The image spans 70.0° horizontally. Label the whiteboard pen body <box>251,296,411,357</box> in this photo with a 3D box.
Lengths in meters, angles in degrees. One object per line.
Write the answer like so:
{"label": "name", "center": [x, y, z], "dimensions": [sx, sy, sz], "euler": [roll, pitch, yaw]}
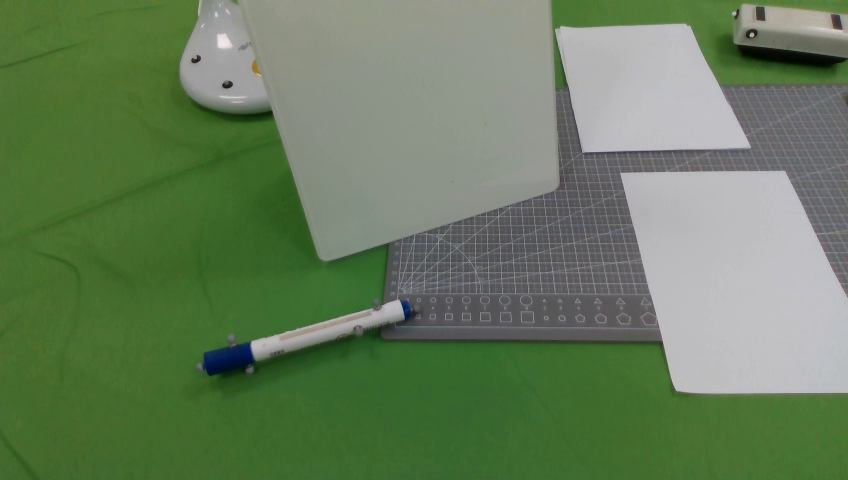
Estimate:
{"label": "whiteboard pen body", "center": [-0.078, 0.065, 0.433], "dimensions": [0.141, 0.017, 0.017], "euler": [-15, 51, -11]}

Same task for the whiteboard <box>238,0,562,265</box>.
{"label": "whiteboard", "center": [-0.026, -0.171, 0.481], "dimensions": [0.217, 0.308, 0.142], "euler": [-17, 32, -10]}

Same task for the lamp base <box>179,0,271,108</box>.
{"label": "lamp base", "center": [-0.193, -0.250, 0.597], "dimensions": [0.177, 0.182, 0.160], "euler": [34, 60, 30]}

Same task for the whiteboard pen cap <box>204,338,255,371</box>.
{"label": "whiteboard pen cap", "center": [-0.134, 0.079, 0.422], "dimensions": [0.033, 0.018, 0.018], "euler": [-14, 51, -13]}

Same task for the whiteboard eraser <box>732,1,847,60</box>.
{"label": "whiteboard eraser", "center": [0.384, -0.218, 0.634], "dimensions": [0.112, 0.042, 0.055], "euler": [12, 54, 13]}
